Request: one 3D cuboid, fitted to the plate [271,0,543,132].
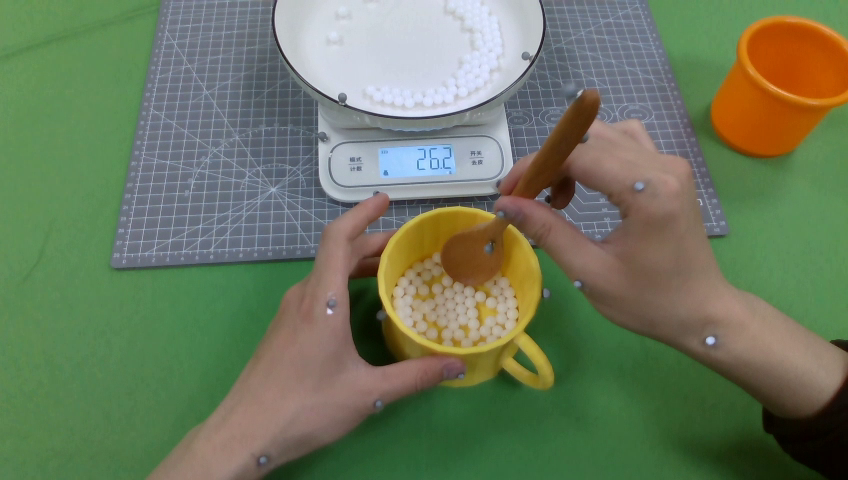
[{"bbox_3d":[-0.013,-0.164,0.477,0.209,0.038,0.207,1,61,-2],"label":"plate"}]

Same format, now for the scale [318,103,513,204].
[{"bbox_3d":[-0.011,-0.122,0.492,0.149,0.032,0.199,-3,62,-3],"label":"scale"}]

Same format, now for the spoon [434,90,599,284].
[{"bbox_3d":[0.045,-0.017,0.329,0.041,0.194,0.021,28,64,-2],"label":"spoon"}]

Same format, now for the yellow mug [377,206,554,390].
[{"bbox_3d":[0.032,0.046,0.386,0.100,0.064,0.130,-41,71,-19],"label":"yellow mug"}]
